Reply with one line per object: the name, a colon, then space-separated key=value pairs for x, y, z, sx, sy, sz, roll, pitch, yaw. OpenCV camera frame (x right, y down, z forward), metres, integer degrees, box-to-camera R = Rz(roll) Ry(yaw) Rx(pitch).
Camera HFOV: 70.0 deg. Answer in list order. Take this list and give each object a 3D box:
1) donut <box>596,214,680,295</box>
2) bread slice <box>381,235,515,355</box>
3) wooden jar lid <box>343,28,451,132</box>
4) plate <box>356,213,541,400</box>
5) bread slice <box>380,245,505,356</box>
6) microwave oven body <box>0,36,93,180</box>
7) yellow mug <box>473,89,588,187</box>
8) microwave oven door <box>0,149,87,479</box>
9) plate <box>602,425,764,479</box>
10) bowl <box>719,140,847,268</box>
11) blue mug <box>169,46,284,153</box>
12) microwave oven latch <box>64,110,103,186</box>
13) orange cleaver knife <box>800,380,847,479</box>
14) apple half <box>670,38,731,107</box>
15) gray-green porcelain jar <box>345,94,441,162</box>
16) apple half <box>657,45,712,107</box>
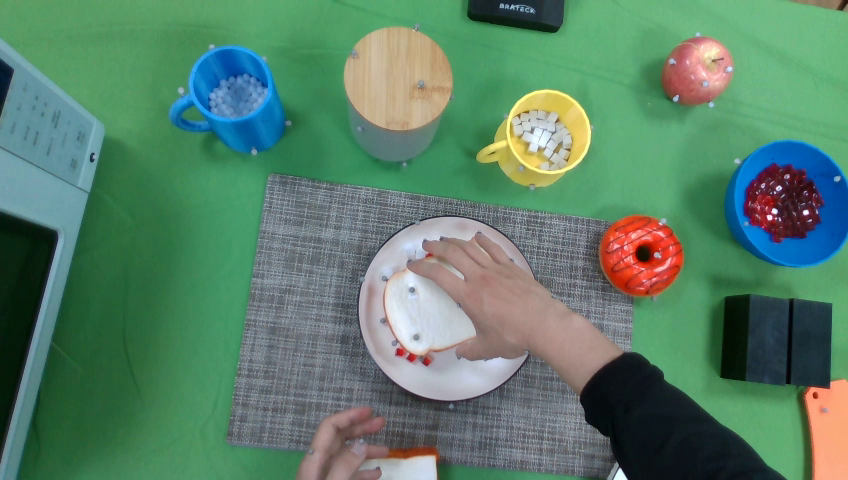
donut: x=0.253 y=0.017 z=0.718 sx=0.099 sy=0.048 sz=0.099 roll=1 pitch=83 yaw=-7
bread slice: x=0.022 y=0.068 z=0.663 sx=0.134 sy=0.018 sz=0.106 roll=-23 pitch=81 yaw=-12
wooden jar lid: x=-0.027 y=-0.159 z=0.609 sx=0.108 sy=0.021 sz=0.108 roll=1 pitch=80 yaw=-6
plate: x=0.027 y=0.074 z=0.688 sx=0.208 sy=0.039 sz=0.207 roll=1 pitch=82 yaw=-7
bread slice: x=0.018 y=0.074 z=0.688 sx=0.132 sy=0.019 sz=0.104 roll=-20 pitch=85 yaw=-10
microwave oven body: x=-0.535 y=0.030 z=0.514 sx=0.327 sy=0.260 sz=0.440 roll=11 pitch=82 yaw=-5
yellow mug: x=0.121 y=-0.114 z=0.714 sx=0.131 sy=0.064 sz=0.099 roll=-16 pitch=85 yaw=-8
microwave oven door: x=-0.399 y=0.099 z=0.516 sx=0.039 sy=0.244 sz=0.354 roll=11 pitch=81 yaw=-5
plate: x=0.292 y=0.315 z=0.690 sx=0.209 sy=0.038 sz=0.208 roll=1 pitch=82 yaw=-6
bowl: x=0.418 y=-0.037 z=0.732 sx=0.151 sy=0.077 sz=0.151 roll=1 pitch=83 yaw=-6
blue mug: x=-0.216 y=-0.145 z=0.658 sx=0.116 sy=0.106 sz=0.082 roll=-18 pitch=84 yaw=-8
microwave oven latch: x=-0.370 y=-0.100 z=0.649 sx=0.030 sy=0.029 sz=0.079 roll=14 pitch=82 yaw=-5
orange cleaver knife: x=0.485 y=0.272 z=0.728 sx=0.077 sy=0.012 sz=0.210 roll=9 pitch=80 yaw=-12
apple half: x=0.342 y=-0.209 z=0.749 sx=0.053 sy=0.075 sz=0.080 roll=-25 pitch=82 yaw=-15
gray-green porcelain jar: x=-0.034 y=-0.149 z=0.670 sx=0.106 sy=0.126 sz=0.105 roll=1 pitch=82 yaw=-6
apple half: x=0.308 y=-0.192 z=0.741 sx=0.033 sy=0.081 sz=0.081 roll=-26 pitch=85 yaw=-14
